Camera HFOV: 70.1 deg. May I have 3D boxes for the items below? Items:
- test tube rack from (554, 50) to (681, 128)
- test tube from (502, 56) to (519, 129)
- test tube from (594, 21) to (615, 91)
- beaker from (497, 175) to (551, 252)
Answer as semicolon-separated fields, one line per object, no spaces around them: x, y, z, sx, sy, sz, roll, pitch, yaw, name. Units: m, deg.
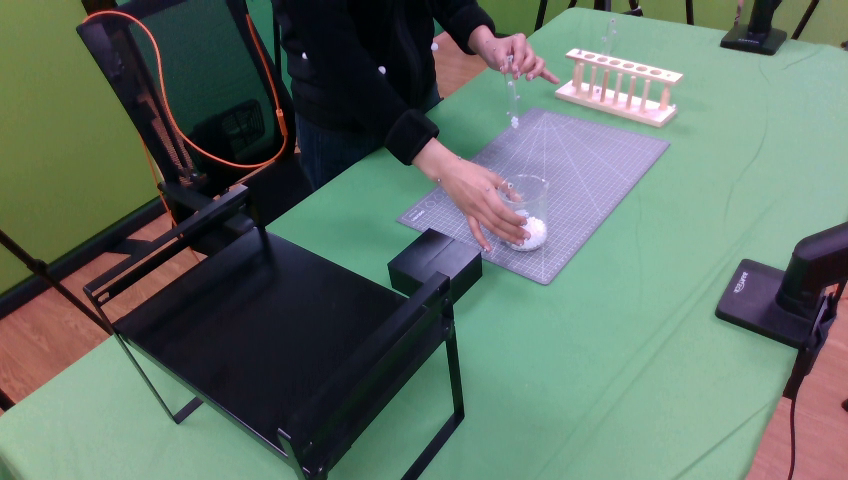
0.388;-0.311;1.234;0.240;0.085;0.067;28;51;34;test tube rack
0.153;-0.253;1.055;0.017;0.151;0.017;-8;49;9;test tube
0.367;-0.372;1.232;0.017;0.151;0.017;0;43;0;test tube
0.157;-0.040;0.926;0.084;0.101;0.073;-19;40;-9;beaker
